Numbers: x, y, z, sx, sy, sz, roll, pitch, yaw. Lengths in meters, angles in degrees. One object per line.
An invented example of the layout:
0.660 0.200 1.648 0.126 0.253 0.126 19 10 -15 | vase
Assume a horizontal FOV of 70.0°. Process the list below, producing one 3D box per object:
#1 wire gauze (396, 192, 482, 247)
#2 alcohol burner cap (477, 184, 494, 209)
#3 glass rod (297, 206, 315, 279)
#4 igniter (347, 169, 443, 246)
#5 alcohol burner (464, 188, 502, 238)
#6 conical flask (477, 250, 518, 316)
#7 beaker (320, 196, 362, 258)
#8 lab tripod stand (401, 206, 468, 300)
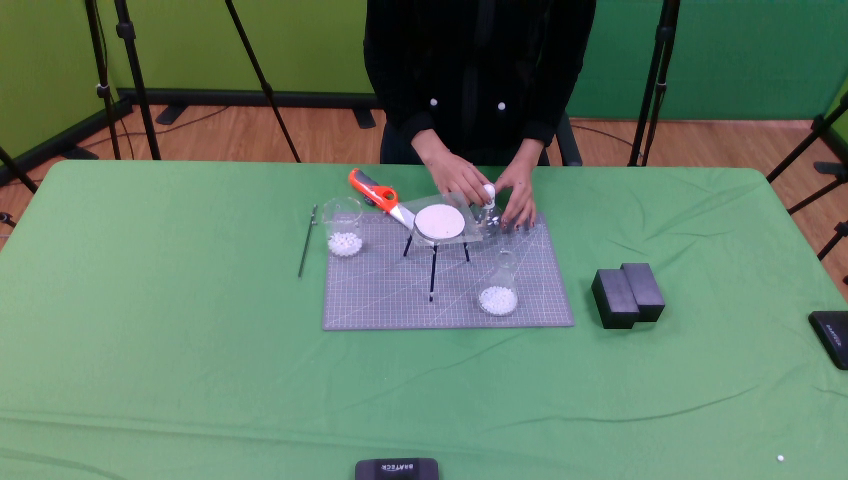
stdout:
0.025 -0.036 1.061 0.125 0.011 0.120 -9 47 -14 | wire gauze
0.121 -0.086 1.175 0.034 0.048 0.033 1 42 -1 | alcohol burner cap
-0.231 0.000 1.191 0.008 0.008 0.198 2 46 -1 | glass rod
-0.068 -0.071 1.258 0.275 0.025 0.057 37 70 28 | igniter
0.120 -0.061 1.201 0.078 0.119 0.077 3 47 -3 | alcohol burner
0.136 0.072 1.067 0.075 0.122 0.075 2 46 -2 | conical flask
-0.156 -0.021 1.150 0.084 0.101 0.073 -30 55 -28 | beaker
0.023 0.013 1.108 0.148 0.132 0.147 3 44 -2 | lab tripod stand
